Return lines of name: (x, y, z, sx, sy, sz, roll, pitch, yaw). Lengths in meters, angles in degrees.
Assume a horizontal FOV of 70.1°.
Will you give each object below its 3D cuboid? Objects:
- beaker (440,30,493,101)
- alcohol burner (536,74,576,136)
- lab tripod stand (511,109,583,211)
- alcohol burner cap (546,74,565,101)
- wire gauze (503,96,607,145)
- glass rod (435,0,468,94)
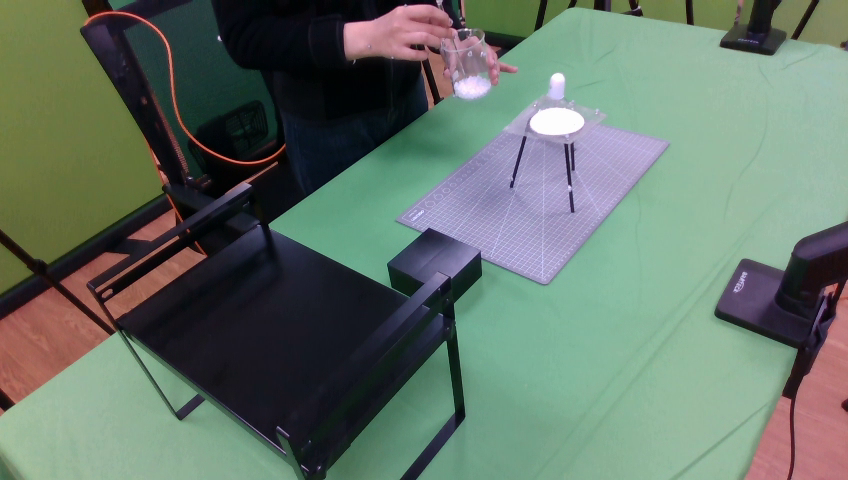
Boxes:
beaker: (0.077, -0.299, 1.036, 0.073, 0.101, 0.084, 6, 48, 24)
alcohol burner: (0.255, -0.265, 1.173, 0.078, 0.119, 0.077, -6, 40, 5)
lab tripod stand: (0.220, -0.138, 1.014, 0.148, 0.132, 0.147, -3, 41, 3)
alcohol burner cap: (0.251, -0.292, 1.150, 0.034, 0.048, 0.033, 0, 41, 0)
wire gauze: (0.211, -0.192, 0.975, 0.120, 0.011, 0.125, 24, 49, 32)
glass rod: (0.044, -0.319, 0.983, 0.008, 0.201, 0.008, -12, 47, 14)
